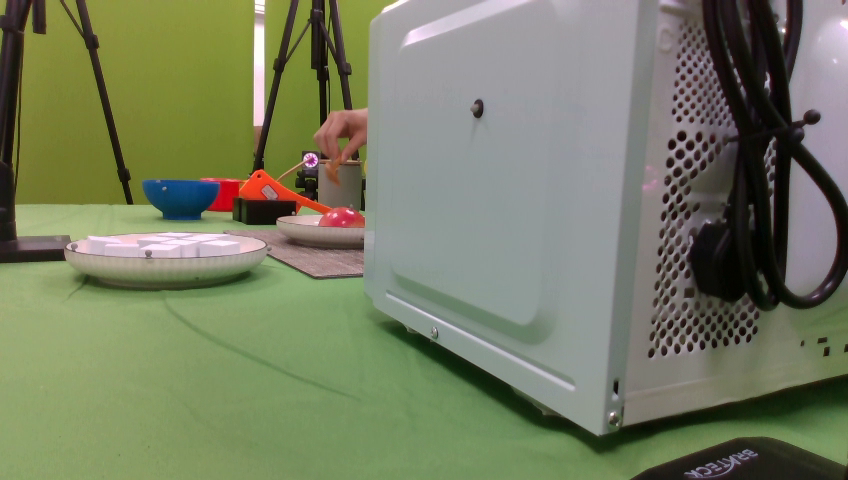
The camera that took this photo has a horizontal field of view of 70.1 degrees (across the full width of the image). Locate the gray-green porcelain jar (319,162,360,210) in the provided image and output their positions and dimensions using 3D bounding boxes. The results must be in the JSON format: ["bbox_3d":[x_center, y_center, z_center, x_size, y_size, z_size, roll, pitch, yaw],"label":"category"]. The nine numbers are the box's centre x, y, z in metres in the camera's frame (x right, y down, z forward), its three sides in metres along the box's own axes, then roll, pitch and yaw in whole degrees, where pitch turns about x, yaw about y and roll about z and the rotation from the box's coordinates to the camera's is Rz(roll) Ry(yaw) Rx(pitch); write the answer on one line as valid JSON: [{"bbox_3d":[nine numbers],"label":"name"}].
[{"bbox_3d":[-0.204,-0.126,1.489,0.106,0.126,0.106,2,7,0],"label":"gray-green porcelain jar"}]

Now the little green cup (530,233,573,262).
[{"bbox_3d":[0.184,0.010,0.880,0.061,0.038,0.061,2,5,0],"label":"little green cup"}]

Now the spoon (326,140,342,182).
[{"bbox_3d":[-0.149,-0.141,1.034,0.021,0.042,0.193,-26,24,9],"label":"spoon"}]

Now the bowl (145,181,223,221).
[{"bbox_3d":[-0.499,-0.081,1.261,0.151,0.077,0.151,2,8,0],"label":"bowl"}]

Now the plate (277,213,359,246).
[{"bbox_3d":[-0.135,-0.018,0.993,0.209,0.038,0.209,2,7,0],"label":"plate"}]

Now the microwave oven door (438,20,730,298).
[{"bbox_3d":[0.181,-0.076,0.618,0.358,0.243,0.039,-2,8,-28],"label":"microwave oven door"}]

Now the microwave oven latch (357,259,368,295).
[{"bbox_3d":[-0.019,0.031,0.529,0.079,0.029,0.030,-1,7,-26],"label":"microwave oven latch"}]

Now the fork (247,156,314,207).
[{"bbox_3d":[-0.360,-0.147,1.523,0.207,0.018,0.028,-43,15,-7],"label":"fork"}]

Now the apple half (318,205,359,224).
[{"bbox_3d":[-0.126,-0.029,0.954,0.081,0.053,0.074,-2,10,-33],"label":"apple half"}]

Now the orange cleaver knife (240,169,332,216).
[{"bbox_3d":[-0.286,-0.082,1.298,0.212,0.077,0.012,25,-2,-31],"label":"orange cleaver knife"}]

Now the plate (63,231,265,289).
[{"bbox_3d":[-0.288,0.021,0.687,0.208,0.039,0.207,2,8,0],"label":"plate"}]

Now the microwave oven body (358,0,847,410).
[{"bbox_3d":[0.210,-0.051,0.471,0.444,0.260,0.324,-1,7,-28],"label":"microwave oven body"}]

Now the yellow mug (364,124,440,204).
[{"bbox_3d":[-0.025,-0.123,0.925,0.100,0.130,0.064,9,41,-55],"label":"yellow mug"}]

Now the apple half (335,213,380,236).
[{"bbox_3d":[-0.112,-0.029,1.034,0.081,0.033,0.081,0,9,0],"label":"apple half"}]

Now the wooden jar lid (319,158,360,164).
[{"bbox_3d":[-0.203,-0.189,1.482,0.108,0.020,0.108,2,10,0],"label":"wooden jar lid"}]
